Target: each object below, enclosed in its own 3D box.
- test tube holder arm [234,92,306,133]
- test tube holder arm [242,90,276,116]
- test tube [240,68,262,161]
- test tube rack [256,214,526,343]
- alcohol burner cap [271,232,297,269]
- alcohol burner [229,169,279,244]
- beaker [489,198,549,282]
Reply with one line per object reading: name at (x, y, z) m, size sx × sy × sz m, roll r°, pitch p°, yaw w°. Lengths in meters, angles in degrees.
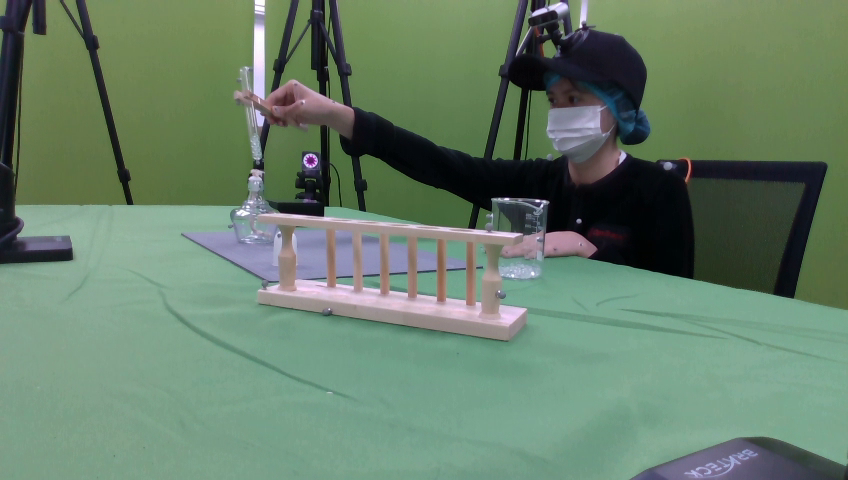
test tube holder arm at (-0.256, -0.214, 1.026) m, size 0.013 × 0.015 × 0.179 m, roll -6°, pitch -10°, yaw 23°
test tube holder arm at (-0.267, -0.221, 0.982) m, size 0.010 × 0.015 × 0.088 m, roll -5°, pitch -10°, yaw 15°
test tube at (-0.275, -0.200, 0.961) m, size 0.017 × 0.150 × 0.017 m, roll -9°, pitch -3°, yaw 0°
test tube rack at (-0.032, 0.027, 0.547) m, size 0.241 × 0.085 × 0.067 m, roll 5°, pitch 7°, yaw 22°
alcohol burner cap at (-0.175, 0.012, 0.760) m, size 0.034 × 0.048 × 0.034 m, roll 2°, pitch 8°, yaw 0°
alcohol burner at (-0.268, -0.053, 0.958) m, size 0.078 × 0.119 × 0.078 m, roll 2°, pitch 5°, yaw 0°
beaker at (0.120, -0.001, 0.768) m, size 0.074 × 0.100 × 0.083 m, roll -1°, pitch 9°, yaw -25°
